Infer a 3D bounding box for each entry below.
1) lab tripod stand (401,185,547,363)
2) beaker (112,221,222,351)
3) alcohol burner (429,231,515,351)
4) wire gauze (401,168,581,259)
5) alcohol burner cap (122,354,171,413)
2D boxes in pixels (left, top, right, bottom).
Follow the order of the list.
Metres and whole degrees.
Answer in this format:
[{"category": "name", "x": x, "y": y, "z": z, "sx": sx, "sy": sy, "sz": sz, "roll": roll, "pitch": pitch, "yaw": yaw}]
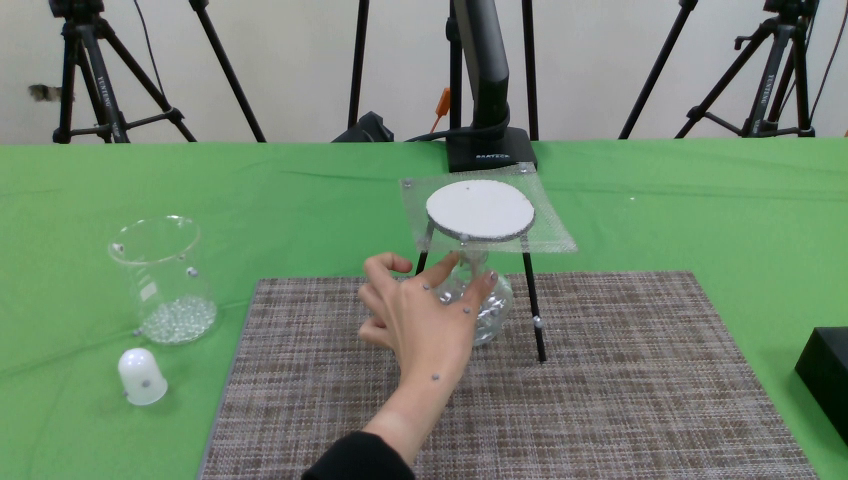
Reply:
[{"category": "lab tripod stand", "x": 0.051, "y": 0.030, "z": 0.531, "sx": 0.148, "sy": 0.132, "sz": 0.147, "roll": 2, "pitch": 35, "yaw": -1}, {"category": "beaker", "x": -0.226, "y": 0.042, "z": 0.550, "sx": 0.074, "sy": 0.101, "sz": 0.083, "roll": 8, "pitch": 36, "yaw": 10}, {"category": "alcohol burner", "x": 0.043, "y": 0.040, "z": 0.533, "sx": 0.078, "sy": 0.120, "sz": 0.077, "roll": 1, "pitch": 37, "yaw": -1}, {"category": "wire gauze", "x": 0.048, "y": -0.022, "z": 0.487, "sx": 0.125, "sy": 0.011, "sz": 0.120, "roll": -4, "pitch": 36, "yaw": -7}, {"category": "alcohol burner cap", "x": -0.230, "y": 0.115, "z": 0.497, "sx": 0.034, "sy": 0.048, "sz": 0.033, "roll": 1, "pitch": 36, "yaw": 0}]
